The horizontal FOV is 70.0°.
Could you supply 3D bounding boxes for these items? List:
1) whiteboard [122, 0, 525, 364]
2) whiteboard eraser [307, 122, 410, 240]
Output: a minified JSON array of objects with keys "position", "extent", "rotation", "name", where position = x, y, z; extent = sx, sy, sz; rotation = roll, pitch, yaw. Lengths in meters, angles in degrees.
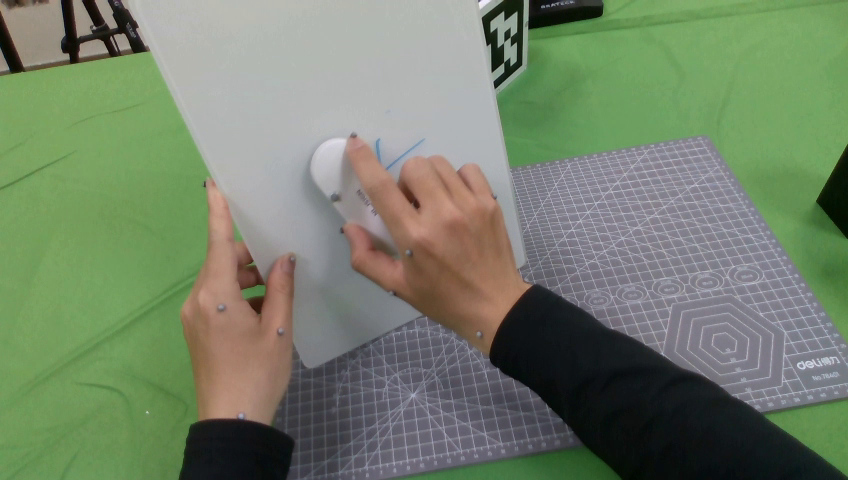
[{"position":[-0.067,-0.094,0.498],"extent":[0.217,0.308,0.142],"rotation":[-25,33,-12],"name":"whiteboard"},{"position":[-0.046,-0.041,0.441],"extent":[0.041,0.102,0.018],"rotation":[-40,34,-5],"name":"whiteboard eraser"}]
